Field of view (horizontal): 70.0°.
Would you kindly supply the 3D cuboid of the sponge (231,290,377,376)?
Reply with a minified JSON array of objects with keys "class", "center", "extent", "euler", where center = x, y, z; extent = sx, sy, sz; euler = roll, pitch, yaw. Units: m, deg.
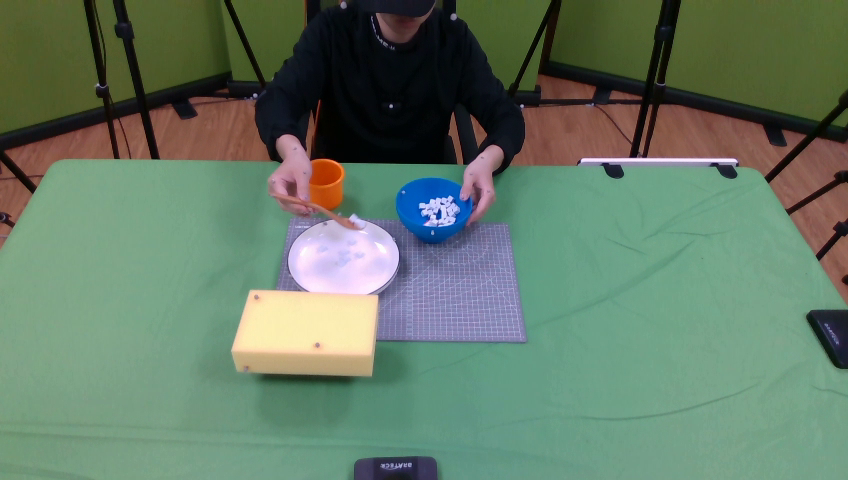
[{"class":"sponge","center":[-0.180,0.144,0.949],"extent":[0.207,0.061,0.117],"euler":[2,46,-2]}]

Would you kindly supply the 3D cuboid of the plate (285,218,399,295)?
[{"class":"plate","center":[-0.150,0.042,1.131],"extent":[0.209,0.038,0.208],"euler":[2,46,-2]}]

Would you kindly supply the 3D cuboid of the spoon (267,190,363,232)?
[{"class":"spoon","center":[-0.188,-0.052,1.065],"extent":[0.195,0.021,0.041],"euler":[27,15,-37]}]

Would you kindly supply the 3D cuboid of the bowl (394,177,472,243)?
[{"class":"bowl","center":[0.016,-0.047,1.188],"extent":[0.151,0.077,0.150],"euler":[2,44,-2]}]
